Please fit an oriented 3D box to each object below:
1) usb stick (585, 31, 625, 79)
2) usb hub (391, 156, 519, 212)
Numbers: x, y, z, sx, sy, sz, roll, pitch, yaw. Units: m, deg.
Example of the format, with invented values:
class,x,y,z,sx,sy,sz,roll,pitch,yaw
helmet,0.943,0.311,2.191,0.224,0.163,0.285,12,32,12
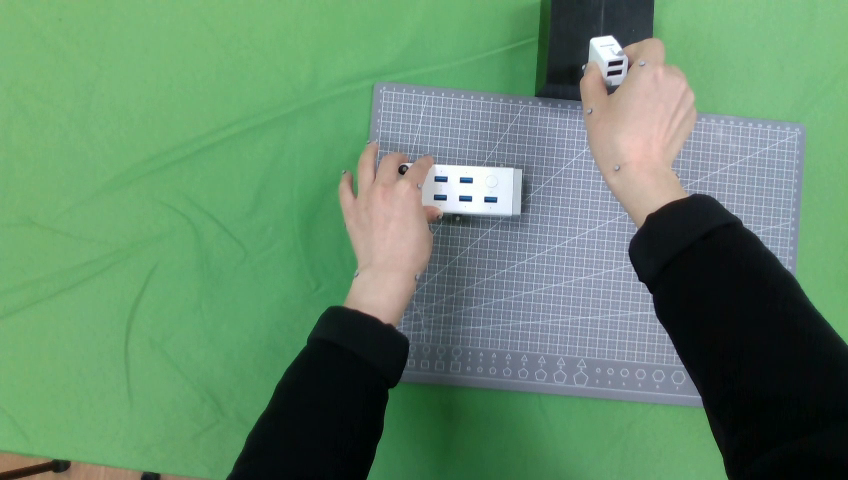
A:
class,x,y,z,sx,sy,sz,roll,pitch,yaw
usb stick,0.156,-0.164,0.528,0.021,0.058,0.027,-5,127,0
usb hub,0.031,-0.056,0.603,0.125,0.025,0.049,3,88,-2
